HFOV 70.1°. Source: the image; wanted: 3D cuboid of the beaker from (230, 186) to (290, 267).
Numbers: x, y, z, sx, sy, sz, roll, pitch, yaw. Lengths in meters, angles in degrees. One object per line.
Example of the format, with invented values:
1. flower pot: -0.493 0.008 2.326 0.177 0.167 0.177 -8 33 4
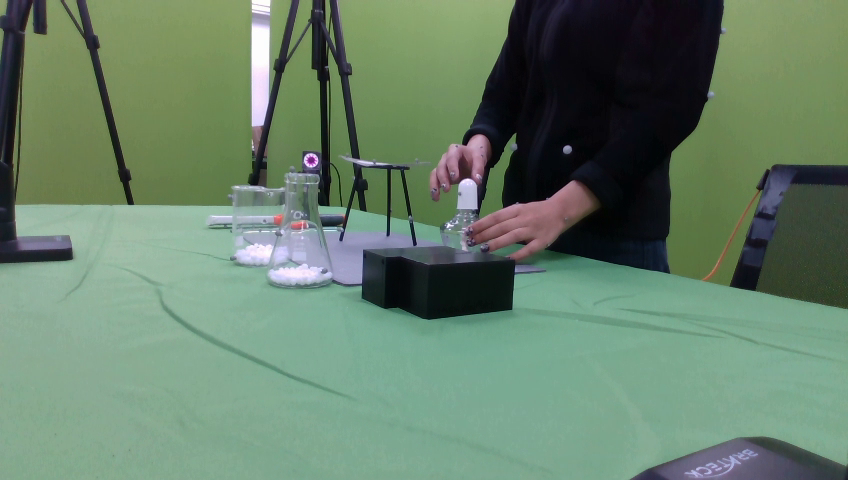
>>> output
1. beaker: -0.209 -0.019 0.778 0.074 0.100 0.084 3 6 4

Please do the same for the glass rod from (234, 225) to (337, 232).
1. glass rod: -0.256 -0.022 1.136 0.201 0.008 0.008 -3 9 -33

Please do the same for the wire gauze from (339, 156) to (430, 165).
1. wire gauze: -0.067 -0.132 1.022 0.122 0.011 0.124 -1 9 -31

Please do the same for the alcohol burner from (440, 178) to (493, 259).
1. alcohol burner: 0.063 -0.032 0.886 0.078 0.119 0.078 4 6 0

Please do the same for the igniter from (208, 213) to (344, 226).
1. igniter: -0.283 -0.041 1.200 0.278 0.025 0.057 -2 -2 -34

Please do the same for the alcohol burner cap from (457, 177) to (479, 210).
1. alcohol burner cap: 0.064 -0.068 0.883 0.034 0.048 0.034 0 2 0

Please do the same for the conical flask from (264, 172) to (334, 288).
1. conical flask: -0.136 -0.013 0.660 0.075 0.122 0.075 2 7 0

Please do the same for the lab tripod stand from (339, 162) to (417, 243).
1. lab tripod stand: -0.067 -0.065 1.027 0.148 0.131 0.148 4 7 0
